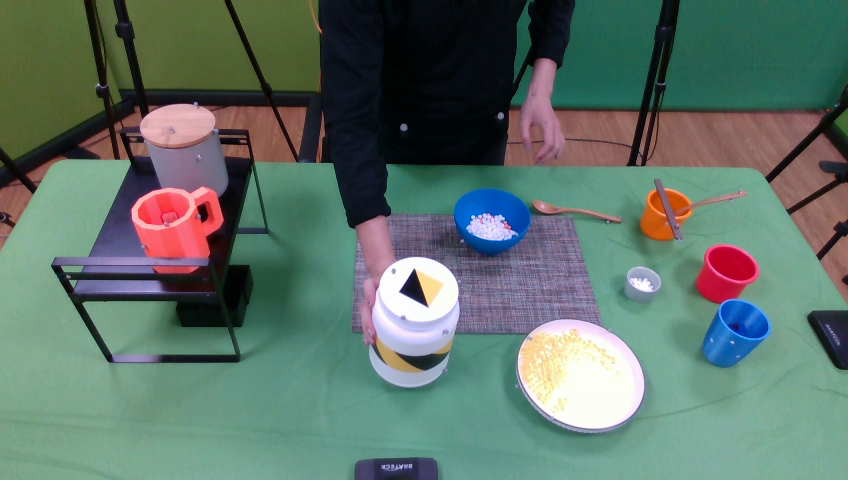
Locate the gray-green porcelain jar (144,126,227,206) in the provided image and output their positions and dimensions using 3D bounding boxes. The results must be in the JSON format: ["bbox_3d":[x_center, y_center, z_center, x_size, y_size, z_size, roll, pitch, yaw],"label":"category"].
[{"bbox_3d":[-0.375,-0.126,0.967,0.106,0.127,0.105,2,46,-2],"label":"gray-green porcelain jar"}]

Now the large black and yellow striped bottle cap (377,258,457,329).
[{"bbox_3d":[-0.010,0.074,0.864,0.115,0.019,0.114,5,49,-6],"label":"large black and yellow striped bottle cap"}]

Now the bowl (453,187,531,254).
[{"bbox_3d":[0.129,-0.025,1.187,0.151,0.077,0.150,2,46,-2],"label":"bowl"}]

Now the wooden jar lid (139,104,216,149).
[{"bbox_3d":[-0.372,-0.169,0.920,0.108,0.021,0.107,4,44,-4],"label":"wooden jar lid"}]

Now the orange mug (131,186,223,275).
[{"bbox_3d":[-0.354,-0.023,0.888,0.083,0.101,0.126,31,56,24],"label":"orange mug"}]

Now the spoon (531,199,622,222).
[{"bbox_3d":[0.322,-0.060,1.279,0.194,0.022,0.041,8,32,4],"label":"spoon"}]

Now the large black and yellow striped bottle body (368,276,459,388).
[{"bbox_3d":[-0.017,0.130,0.926,0.131,0.185,0.130,4,49,-4],"label":"large black and yellow striped bottle body"}]

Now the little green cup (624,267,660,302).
[{"bbox_3d":[0.406,0.084,1.135,0.061,0.039,0.061,3,45,-3],"label":"little green cup"}]

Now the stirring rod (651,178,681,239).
[{"bbox_3d":[0.479,-0.065,1.204,0.014,0.006,0.175,3,46,-3],"label":"stirring rod"}]

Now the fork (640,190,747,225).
[{"bbox_3d":[0.533,-0.064,1.211,0.207,0.019,0.028,-22,28,38],"label":"fork"}]

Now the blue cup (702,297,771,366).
[{"bbox_3d":[0.519,0.162,1.025,0.093,0.101,0.092,3,45,-3],"label":"blue cup"}]

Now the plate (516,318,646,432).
[{"bbox_3d":[0.253,0.221,0.992,0.209,0.038,0.208,2,46,-2],"label":"plate"}]
